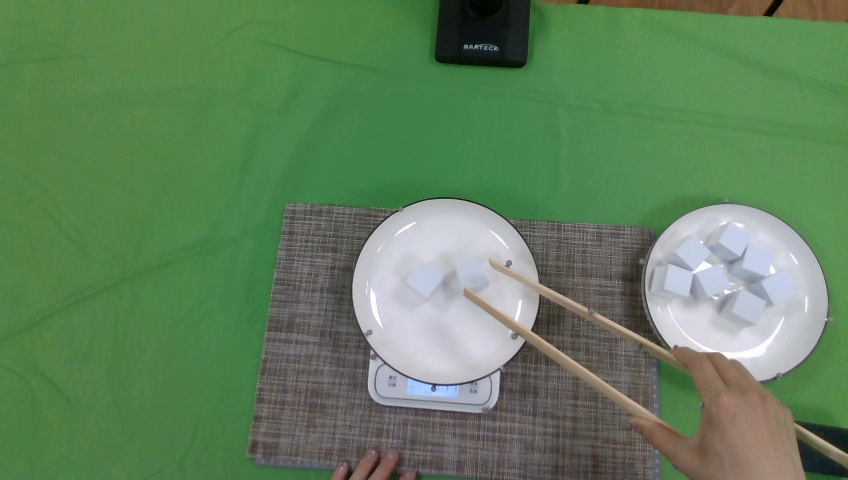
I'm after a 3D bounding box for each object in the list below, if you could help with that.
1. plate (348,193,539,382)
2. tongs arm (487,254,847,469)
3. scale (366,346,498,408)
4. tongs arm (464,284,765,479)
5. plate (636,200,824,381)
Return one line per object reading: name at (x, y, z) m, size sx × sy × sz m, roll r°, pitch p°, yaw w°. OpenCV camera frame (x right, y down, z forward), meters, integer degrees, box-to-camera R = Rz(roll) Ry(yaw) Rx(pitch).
plate at (0.021, 0.051, 0.671) m, size 0.209 × 0.038 × 0.208 m, roll 0°, pitch 77°, yaw 0°
tongs arm at (0.209, 0.118, 0.546) m, size 0.382 × 0.027 × 0.050 m, roll 28°, pitch 71°, yaw 24°
scale at (0.014, 0.087, 0.696) m, size 0.148 × 0.032 × 0.200 m, roll 5°, pitch 77°, yaw 2°
tongs arm at (0.192, 0.139, 0.539) m, size 0.384 × 0.028 × 0.028 m, roll 31°, pitch 69°, yaw 25°
plate at (0.346, 0.058, 0.700) m, size 0.208 × 0.039 × 0.206 m, roll 0°, pitch 76°, yaw 1°
